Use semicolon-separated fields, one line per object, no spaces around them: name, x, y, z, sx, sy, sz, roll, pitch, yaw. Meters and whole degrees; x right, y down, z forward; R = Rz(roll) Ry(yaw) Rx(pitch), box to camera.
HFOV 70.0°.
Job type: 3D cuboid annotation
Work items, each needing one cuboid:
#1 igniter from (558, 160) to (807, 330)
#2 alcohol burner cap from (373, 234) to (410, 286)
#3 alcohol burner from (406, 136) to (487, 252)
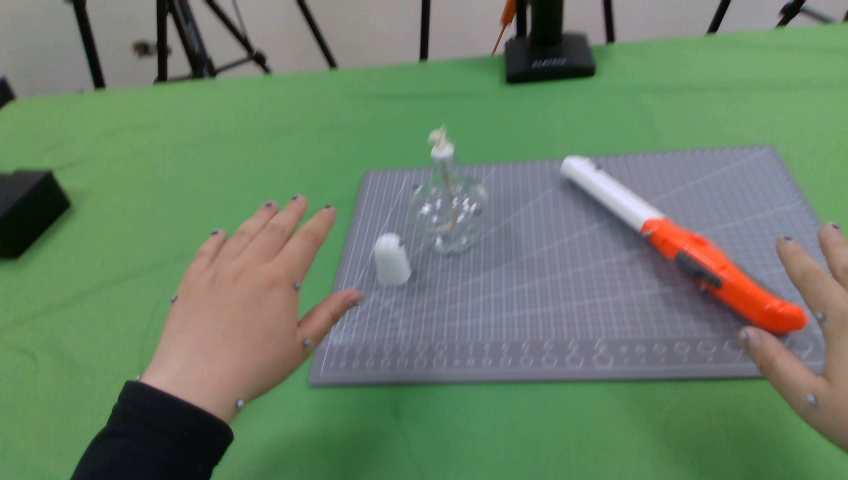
igniter;0.215;-0.007;0.548;0.057;0.025;0.273;-3;33;-28
alcohol burner cap;-0.032;0.016;0.561;0.034;0.048;0.033;-5;41;5
alcohol burner;0.020;-0.047;0.569;0.078;0.120;0.077;-4;42;4
